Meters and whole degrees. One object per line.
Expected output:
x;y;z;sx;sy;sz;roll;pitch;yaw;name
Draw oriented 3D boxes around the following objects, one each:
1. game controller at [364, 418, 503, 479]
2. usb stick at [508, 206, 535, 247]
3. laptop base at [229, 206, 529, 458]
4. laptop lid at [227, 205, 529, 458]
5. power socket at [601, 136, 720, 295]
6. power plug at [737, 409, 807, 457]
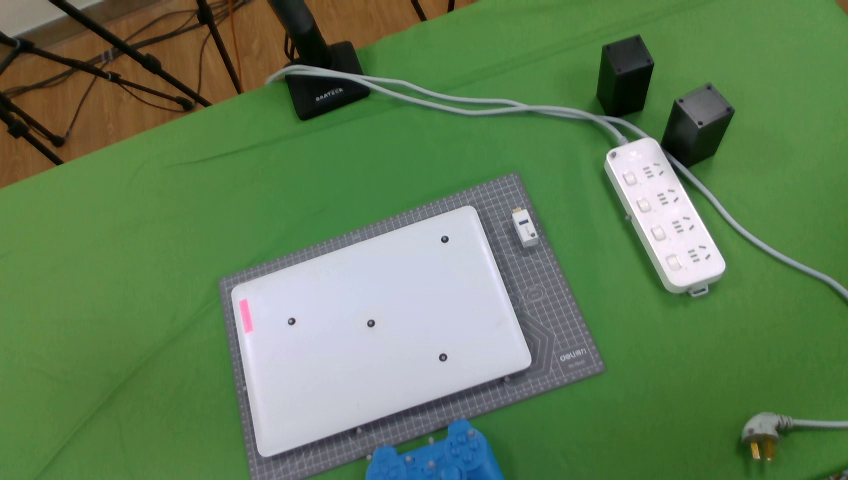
0.006;0.267;0.689;0.155;0.052;0.096;-19;60;1;game controller
0.126;-0.023;0.800;0.021;0.027;0.058;-21;63;3;usb stick
-0.069;0.111;0.785;0.354;0.023;0.233;-20;68;1;laptop base
-0.070;0.109;0.773;0.357;0.013;0.239;-18;67;2;laptop lid
0.297;-0.037;0.774;0.072;0.033;0.224;-19;64;3;power socket
0.376;0.206;0.648;0.072;0.035;0.052;-8;47;20;power plug
